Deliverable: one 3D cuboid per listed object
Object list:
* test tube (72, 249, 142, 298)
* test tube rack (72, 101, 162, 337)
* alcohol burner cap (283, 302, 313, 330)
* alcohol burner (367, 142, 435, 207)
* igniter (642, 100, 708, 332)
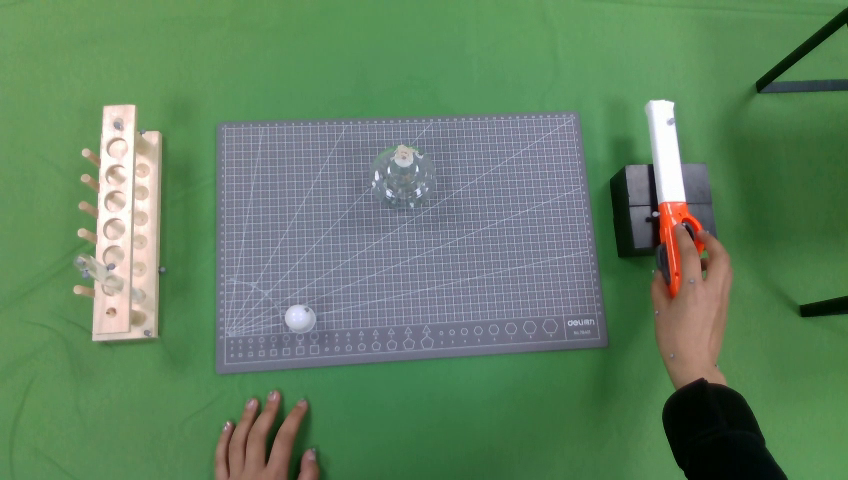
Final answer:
[{"bbox_3d":[-0.309,0.036,0.599,0.017,0.151,0.017,2,73,-7],"label":"test tube"},{"bbox_3d":[-0.336,-0.021,0.659,0.067,0.085,0.241,-3,78,-5],"label":"test tube rack"},{"bbox_3d":[-0.142,0.083,0.673,0.034,0.048,0.033,1,78,-6],"label":"alcohol burner cap"},{"bbox_3d":[-0.026,-0.079,0.680,0.078,0.119,0.077,1,78,-2],"label":"alcohol burner"},{"bbox_3d":[0.285,-0.032,0.694,0.057,0.025,0.275,-1,75,-7],"label":"igniter"}]
